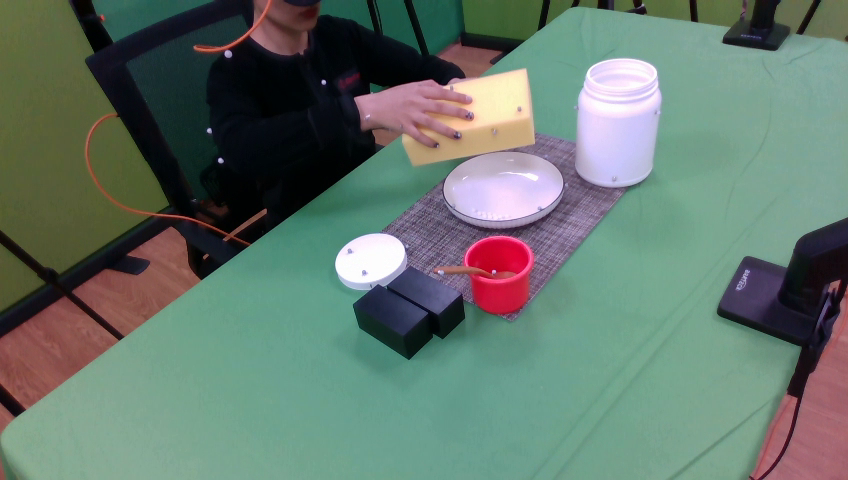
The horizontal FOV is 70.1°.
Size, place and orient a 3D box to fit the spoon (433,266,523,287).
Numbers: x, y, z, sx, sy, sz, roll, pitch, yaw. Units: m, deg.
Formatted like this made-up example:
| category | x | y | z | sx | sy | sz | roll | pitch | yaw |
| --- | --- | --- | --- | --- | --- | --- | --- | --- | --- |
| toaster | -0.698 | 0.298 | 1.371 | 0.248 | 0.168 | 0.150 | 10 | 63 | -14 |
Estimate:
| category | x | y | z | sx | sy | sz | roll | pitch | yaw |
| --- | --- | --- | --- | --- | --- | --- | --- | --- | --- |
| spoon | 0.074 | 0.045 | 0.815 | 0.041 | 0.021 | 0.195 | 32 | 12 | 38 |

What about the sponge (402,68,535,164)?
| category | x | y | z | sx | sy | sz | roll | pitch | yaw |
| --- | --- | --- | --- | --- | --- | --- | --- | --- | --- |
| sponge | 0.074 | -0.202 | 0.992 | 0.206 | 0.061 | 0.117 | -9 | 52 | 12 |

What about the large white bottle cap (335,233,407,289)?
| category | x | y | z | sx | sy | sz | roll | pitch | yaw |
| --- | --- | --- | --- | --- | --- | --- | --- | --- | --- |
| large white bottle cap | -0.085 | 0.032 | 0.961 | 0.115 | 0.018 | 0.114 | -6 | 41 | 6 |

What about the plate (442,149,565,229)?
| category | x | y | z | sx | sy | sz | roll | pitch | yaw |
| --- | --- | --- | --- | --- | --- | --- | --- | --- | --- |
| plate | 0.136 | -0.085 | 1.039 | 0.209 | 0.038 | 0.208 | -5 | 40 | 5 |

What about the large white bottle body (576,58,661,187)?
| category | x | y | z | sx | sy | sz | roll | pitch | yaw |
| --- | --- | --- | --- | --- | --- | --- | --- | --- | --- |
| large white bottle body | 0.326 | -0.197 | 1.021 | 0.130 | 0.185 | 0.130 | -5 | 40 | 5 |
